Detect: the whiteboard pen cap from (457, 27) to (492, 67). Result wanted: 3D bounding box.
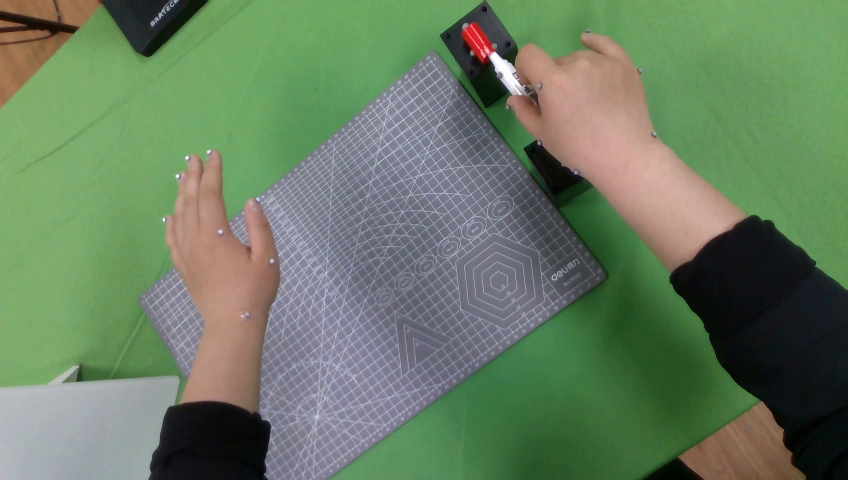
[{"bbox_3d":[0.044,-0.168,0.526,0.017,0.017,0.032,-36,82,10],"label":"whiteboard pen cap"}]

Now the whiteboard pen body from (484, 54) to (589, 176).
[{"bbox_3d":[0.091,-0.111,0.514,0.017,0.017,0.140,-39,81,10],"label":"whiteboard pen body"}]

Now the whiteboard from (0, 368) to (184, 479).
[{"bbox_3d":[-0.441,0.236,0.620,0.143,0.308,0.217,15,92,34],"label":"whiteboard"}]
